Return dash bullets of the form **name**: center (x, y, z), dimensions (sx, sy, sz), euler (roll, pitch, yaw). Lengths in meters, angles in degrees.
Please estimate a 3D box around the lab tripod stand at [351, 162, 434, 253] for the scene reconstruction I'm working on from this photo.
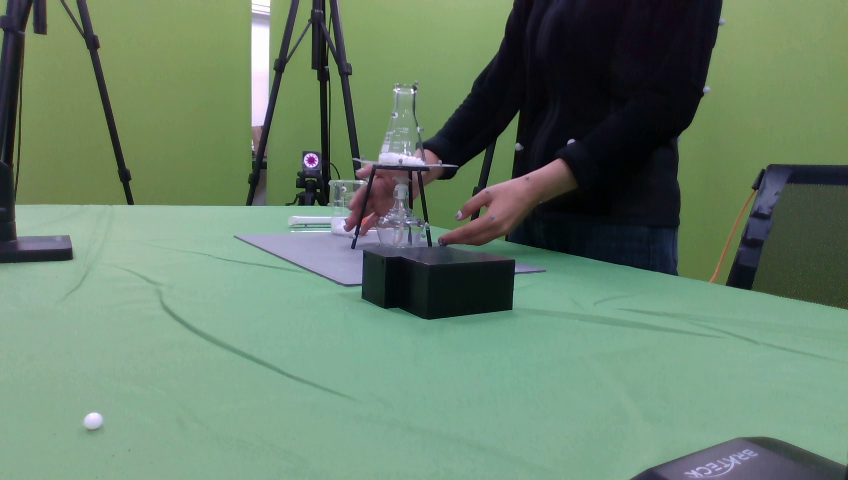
- **lab tripod stand**: center (-0.034, -0.052, 0.933), dimensions (0.148, 0.131, 0.148), euler (4, 7, 0)

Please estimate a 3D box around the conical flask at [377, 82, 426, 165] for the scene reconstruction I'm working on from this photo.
- **conical flask**: center (-0.032, -0.175, 0.918), dimensions (0.075, 0.122, 0.075), euler (3, 8, 0)

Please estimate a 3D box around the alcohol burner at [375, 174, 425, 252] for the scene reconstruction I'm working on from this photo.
- **alcohol burner**: center (-0.036, -0.042, 0.934), dimensions (0.078, 0.119, 0.078), euler (2, 9, 0)

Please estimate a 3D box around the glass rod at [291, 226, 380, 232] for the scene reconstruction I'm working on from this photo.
- **glass rod**: center (-0.161, -0.022, 1.177), dimensions (0.201, 0.008, 0.008), euler (-2, 8, -28)

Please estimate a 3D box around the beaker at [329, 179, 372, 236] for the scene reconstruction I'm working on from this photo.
- **beaker**: center (-0.137, -0.061, 1.101), dimensions (0.084, 0.100, 0.074), euler (4, 7, 21)

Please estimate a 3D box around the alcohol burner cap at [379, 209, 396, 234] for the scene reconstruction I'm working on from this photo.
- **alcohol burner cap**: center (-0.069, -0.036, 1.154), dimensions (0.034, 0.048, 0.034), euler (2, 8, 0)

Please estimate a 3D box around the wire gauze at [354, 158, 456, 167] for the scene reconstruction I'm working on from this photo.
- **wire gauze**: center (-0.030, -0.117, 0.927), dimensions (0.122, 0.011, 0.124), euler (0, 5, -36)

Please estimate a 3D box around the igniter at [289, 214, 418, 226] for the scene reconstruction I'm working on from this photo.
- **igniter**: center (-0.141, -0.042, 1.258), dimensions (0.278, 0.025, 0.057), euler (-1, -1, -30)
